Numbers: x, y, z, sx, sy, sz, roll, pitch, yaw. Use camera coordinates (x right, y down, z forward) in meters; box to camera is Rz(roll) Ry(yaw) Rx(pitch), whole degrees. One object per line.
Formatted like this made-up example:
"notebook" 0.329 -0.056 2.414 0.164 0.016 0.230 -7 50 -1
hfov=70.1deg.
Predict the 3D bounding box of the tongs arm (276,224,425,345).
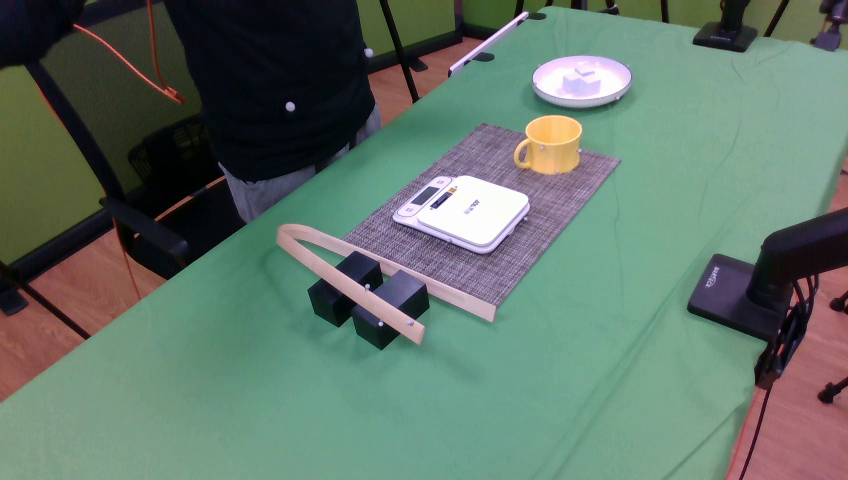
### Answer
"tongs arm" -0.114 0.049 0.856 0.051 0.026 0.381 -7 24 -44

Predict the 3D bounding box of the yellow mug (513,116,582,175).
"yellow mug" 0.220 -0.168 1.094 0.131 0.064 0.099 -21 42 -14

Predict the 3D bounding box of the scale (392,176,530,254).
"scale" 0.060 -0.050 1.006 0.199 0.032 0.149 22 48 30

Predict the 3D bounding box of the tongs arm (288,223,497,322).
"tongs arm" -0.060 0.043 0.918 0.384 0.028 0.028 21 24 28

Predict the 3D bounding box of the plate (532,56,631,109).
"plate" 0.336 -0.336 1.301 0.207 0.039 0.206 -4 41 4
